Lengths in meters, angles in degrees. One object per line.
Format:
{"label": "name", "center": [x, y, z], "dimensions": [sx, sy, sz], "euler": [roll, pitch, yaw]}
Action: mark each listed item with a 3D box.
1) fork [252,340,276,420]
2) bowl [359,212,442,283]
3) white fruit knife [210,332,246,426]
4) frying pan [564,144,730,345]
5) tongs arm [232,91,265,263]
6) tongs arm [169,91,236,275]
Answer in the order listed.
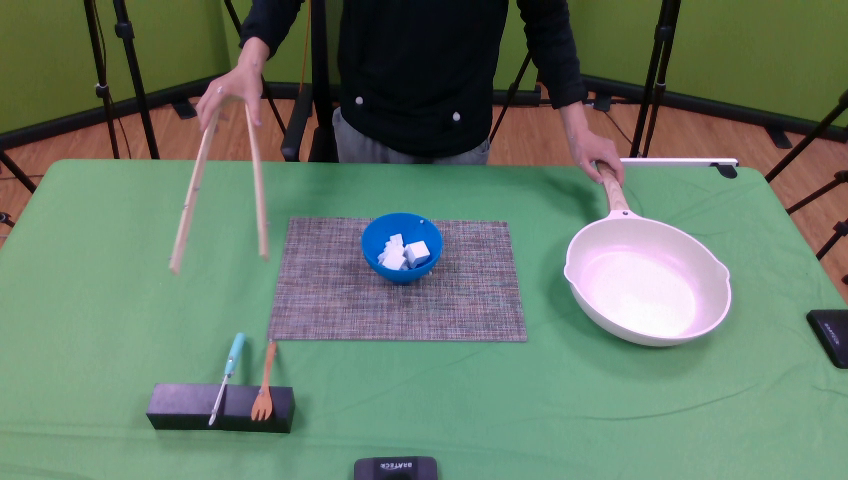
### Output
{"label": "fork", "center": [-0.242, 0.211, 0.932], "dimensions": [0.028, 0.019, 0.206], "euler": [-7, 27, -5]}
{"label": "bowl", "center": [-0.045, 0.026, 1.124], "dimensions": [0.151, 0.077, 0.150], "euler": [2, 46, -2]}
{"label": "white fruit knife", "center": [-0.301, 0.206, 0.930], "dimensions": [0.016, 0.027, 0.206], "euler": [5, 29, -7]}
{"label": "frying pan", "center": [0.396, -0.008, 1.179], "dimensions": [0.307, 0.103, 0.484], "euler": [0, 55, -5]}
{"label": "tongs arm", "center": [-0.302, -0.123, 1.050], "dimensions": [0.028, 0.028, 0.385], "euler": [-18, 57, 2]}
{"label": "tongs arm", "center": [-0.379, -0.112, 1.052], "dimensions": [0.051, 0.027, 0.382], "euler": [-6, 57, 6]}
